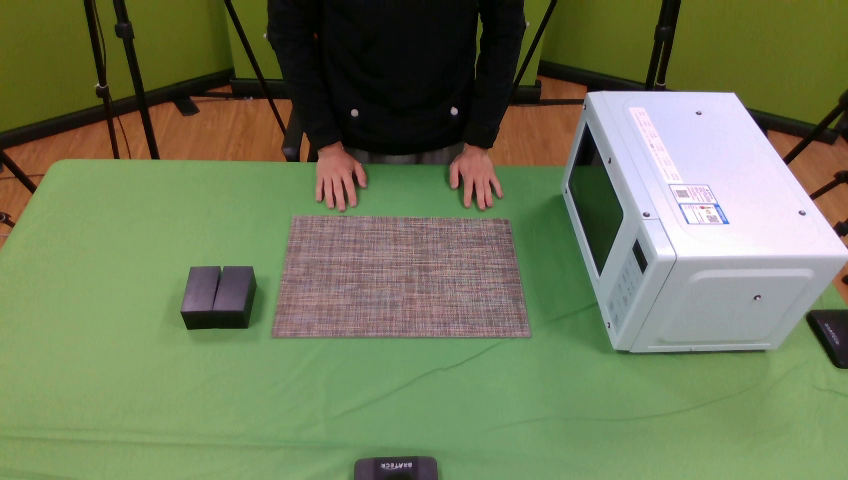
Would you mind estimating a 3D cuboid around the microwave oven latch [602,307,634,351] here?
[{"bbox_3d":[0.332,0.153,1.043,0.030,0.029,0.078,0,45,-4],"label":"microwave oven latch"}]

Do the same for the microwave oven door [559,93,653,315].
[{"bbox_3d":[0.327,-0.074,1.123,0.039,0.245,0.353,-1,46,-5],"label":"microwave oven door"}]

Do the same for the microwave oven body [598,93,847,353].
[{"bbox_3d":[0.475,-0.041,1.109,0.326,0.261,0.438,-1,45,-4],"label":"microwave oven body"}]
